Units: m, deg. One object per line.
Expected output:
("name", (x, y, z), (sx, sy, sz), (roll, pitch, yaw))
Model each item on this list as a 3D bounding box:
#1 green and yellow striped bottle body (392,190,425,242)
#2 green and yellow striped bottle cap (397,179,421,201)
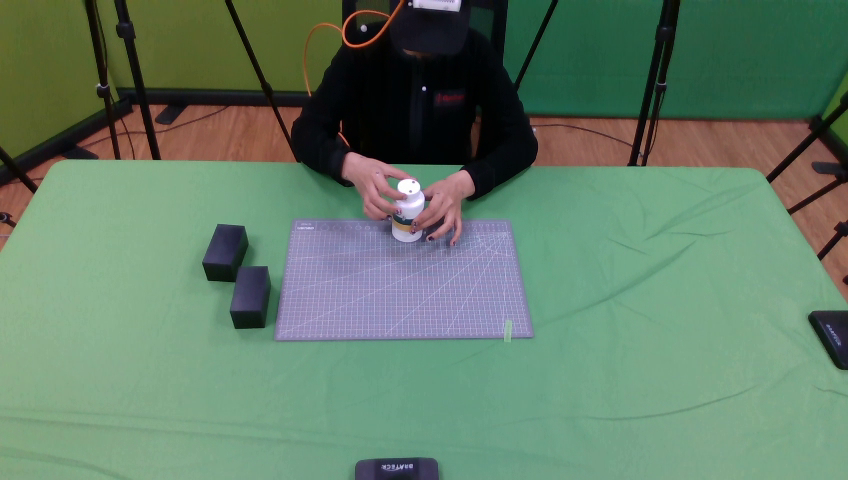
("green and yellow striped bottle body", (-0.031, -0.058, 1.178), (0.063, 0.120, 0.063), (2, 46, -2))
("green and yellow striped bottle cap", (-0.029, -0.095, 1.139), (0.045, 0.020, 0.045), (0, 47, 0))
